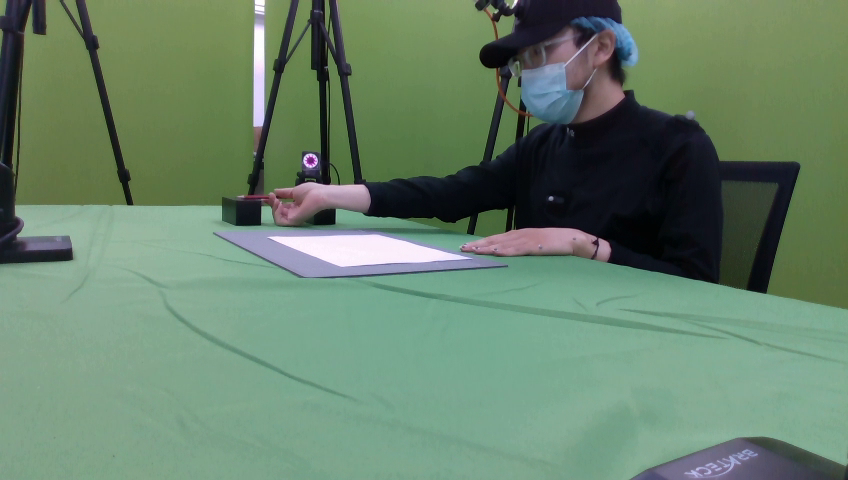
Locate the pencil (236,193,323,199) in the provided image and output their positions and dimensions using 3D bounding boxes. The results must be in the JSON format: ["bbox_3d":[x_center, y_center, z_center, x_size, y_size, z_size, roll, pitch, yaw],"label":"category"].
[{"bbox_3d":[-0.302,-0.092,1.279,0.195,0.012,0.012,-4,10,-36],"label":"pencil"}]
